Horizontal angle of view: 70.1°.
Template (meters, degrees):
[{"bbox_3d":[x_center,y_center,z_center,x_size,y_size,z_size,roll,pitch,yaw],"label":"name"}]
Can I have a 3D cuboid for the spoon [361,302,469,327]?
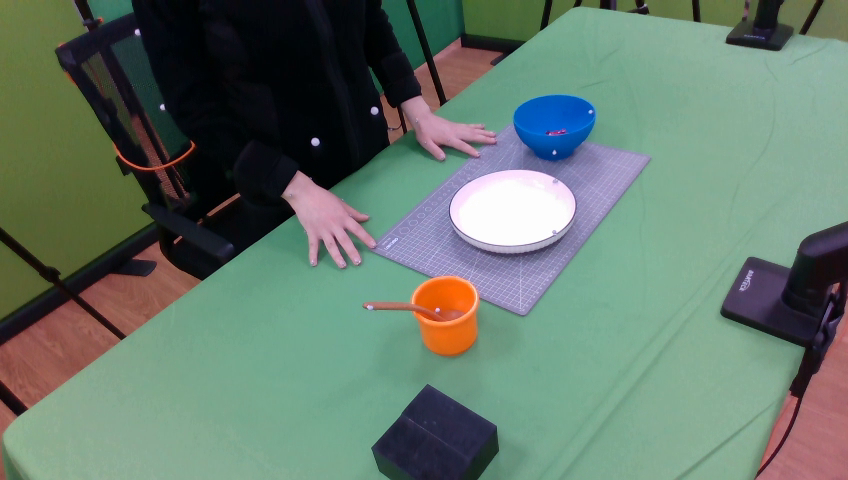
[{"bbox_3d":[-0.008,0.092,0.779,0.041,0.195,0.021,33,99,42],"label":"spoon"}]

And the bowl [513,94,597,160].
[{"bbox_3d":[0.244,-0.202,1.130,0.151,0.077,0.150,-6,40,5],"label":"bowl"}]

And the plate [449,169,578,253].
[{"bbox_3d":[0.146,-0.044,0.993,0.209,0.038,0.208,-5,40,5],"label":"plate"}]
